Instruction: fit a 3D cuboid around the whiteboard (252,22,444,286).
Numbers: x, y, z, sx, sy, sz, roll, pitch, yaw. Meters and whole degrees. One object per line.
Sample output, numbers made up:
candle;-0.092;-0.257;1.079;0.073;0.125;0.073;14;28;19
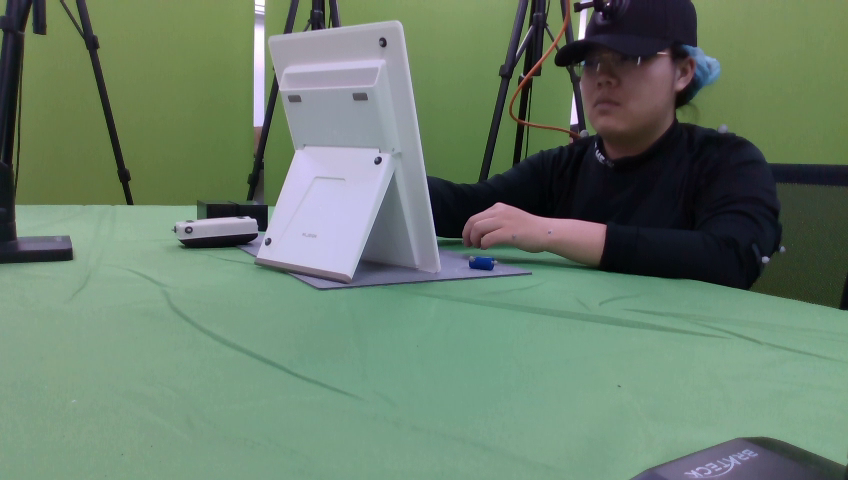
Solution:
whiteboard;-0.125;-0.080;0.714;0.216;0.305;0.144;9;29;37

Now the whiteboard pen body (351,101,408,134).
whiteboard pen body;-0.059;-0.162;0.805;0.017;0.017;0.141;6;28;27

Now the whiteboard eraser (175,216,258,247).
whiteboard eraser;-0.314;-0.013;0.914;0.113;0.042;0.055;-5;12;-30

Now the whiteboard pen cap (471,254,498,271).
whiteboard pen cap;0.080;0.031;0.799;0.033;0.018;0.018;19;3;-17
